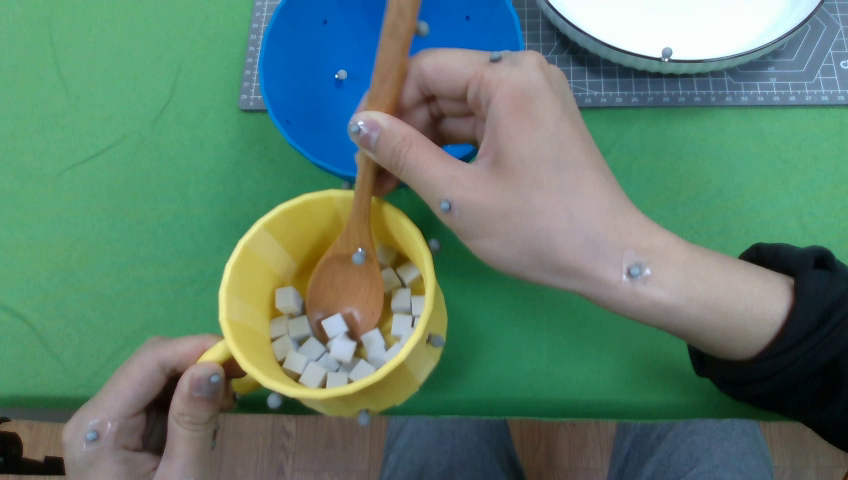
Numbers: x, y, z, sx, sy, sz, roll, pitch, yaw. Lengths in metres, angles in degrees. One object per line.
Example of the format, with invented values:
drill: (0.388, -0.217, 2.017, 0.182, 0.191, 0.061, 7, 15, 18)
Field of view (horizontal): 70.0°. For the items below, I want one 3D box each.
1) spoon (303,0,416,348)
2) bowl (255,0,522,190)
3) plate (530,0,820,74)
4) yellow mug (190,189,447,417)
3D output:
spoon: (-0.026, -0.028, 0.274, 0.041, 0.195, 0.021, 18, 33, 5)
bowl: (-0.017, -0.092, 0.374, 0.151, 0.077, 0.150, -1, 75, 5)
plate: (0.164, -0.199, 0.415, 0.209, 0.038, 0.207, -1, 71, 4)
yellow mug: (-0.054, 0.041, 0.299, 0.131, 0.064, 0.099, -32, 68, -6)
